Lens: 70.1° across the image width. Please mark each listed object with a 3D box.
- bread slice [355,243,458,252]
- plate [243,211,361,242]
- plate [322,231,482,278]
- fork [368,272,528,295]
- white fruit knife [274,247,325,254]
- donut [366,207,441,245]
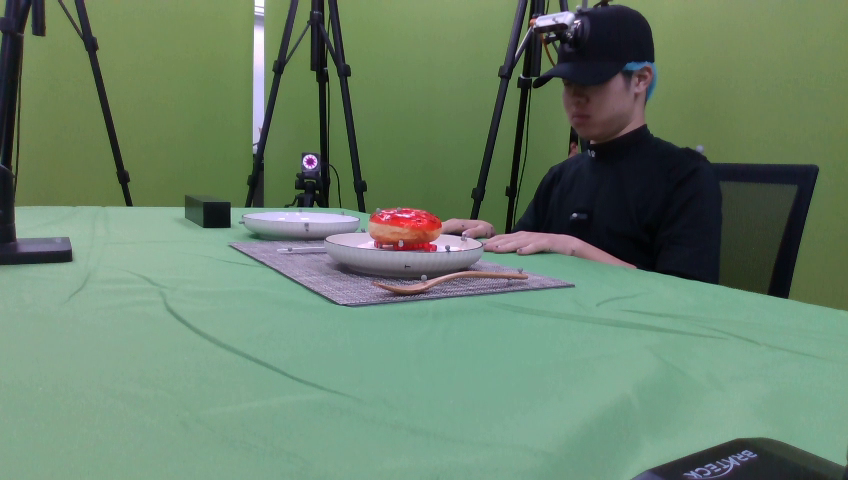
[{"bbox_3d":[-0.027,0.019,0.794,0.131,0.019,0.105,6,7,17],"label":"bread slice"},{"bbox_3d":[-0.219,-0.025,1.092,0.208,0.039,0.207,3,7,0],"label":"plate"},{"bbox_3d":[-0.028,0.018,0.789,0.209,0.038,0.209,3,7,0],"label":"plate"},{"bbox_3d":[0.034,0.046,0.661,0.208,0.018,0.028,-4,2,-33],"label":"fork"},{"bbox_3d":[-0.118,0.013,0.899,0.208,0.016,0.027,-3,-21,-26],"label":"white fruit knife"},{"bbox_3d":[-0.027,-0.017,0.786,0.099,0.048,0.099,3,7,0],"label":"donut"}]
